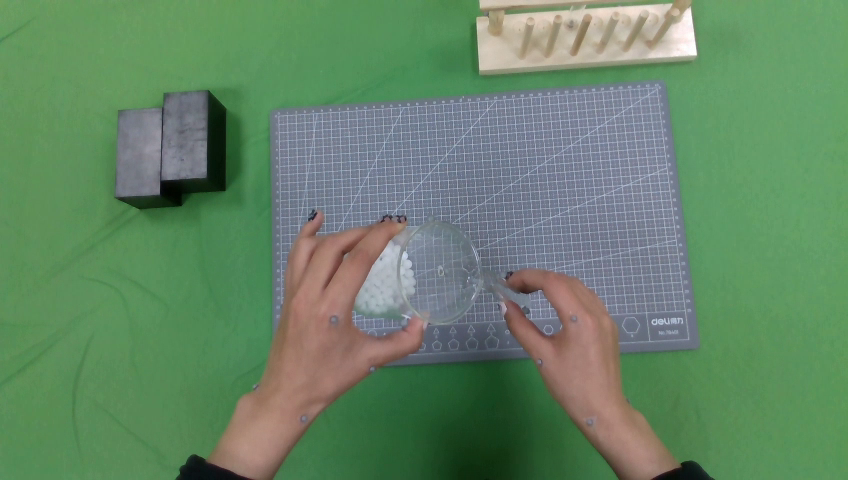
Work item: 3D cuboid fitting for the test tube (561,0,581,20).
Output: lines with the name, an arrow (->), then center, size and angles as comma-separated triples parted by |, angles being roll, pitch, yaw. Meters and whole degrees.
test tube -> 0.161, -0.269, 0.612 | 0.017, 0.151, 0.017 | 0, 77, 1

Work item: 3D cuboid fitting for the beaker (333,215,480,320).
beaker -> -0.016, 0.023, 0.467 | 0.084, 0.100, 0.074 | 12, 80, -35

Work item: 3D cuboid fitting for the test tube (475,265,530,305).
test tube -> 0.073, 0.042, 0.535 | 0.017, 0.151, 0.017 | -5, 76, 20

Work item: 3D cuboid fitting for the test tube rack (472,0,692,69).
test tube rack -> 0.175, -0.244, 0.657 | 0.242, 0.085, 0.066 | -4, 80, 3
